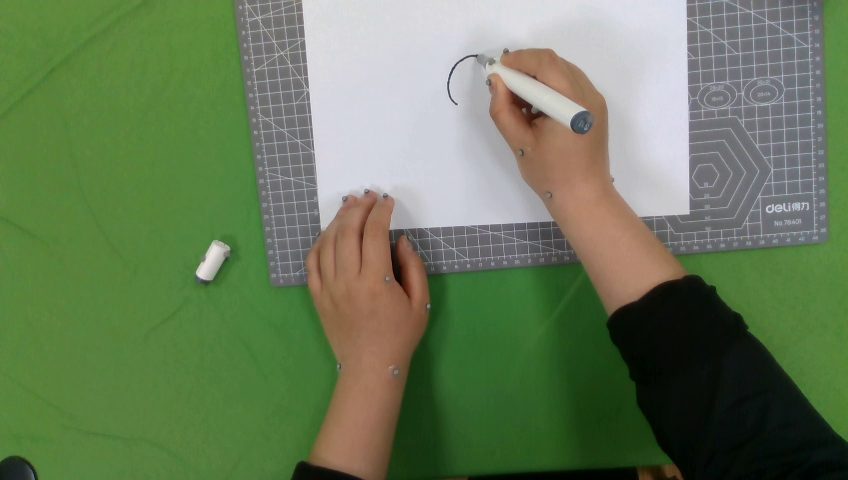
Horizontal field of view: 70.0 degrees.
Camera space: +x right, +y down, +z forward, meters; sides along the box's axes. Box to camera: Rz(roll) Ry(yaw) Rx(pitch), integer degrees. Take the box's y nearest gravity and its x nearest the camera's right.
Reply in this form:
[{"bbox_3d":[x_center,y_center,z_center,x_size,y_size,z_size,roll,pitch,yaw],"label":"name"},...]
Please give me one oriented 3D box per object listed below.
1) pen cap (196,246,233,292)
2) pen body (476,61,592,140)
[{"bbox_3d":[-0.179,0.026,0.514,0.017,0.017,0.038,33,98,2],"label":"pen cap"},{"bbox_3d":[0.070,-0.104,0.428,0.017,0.142,0.017,-14,127,-19],"label":"pen body"}]
